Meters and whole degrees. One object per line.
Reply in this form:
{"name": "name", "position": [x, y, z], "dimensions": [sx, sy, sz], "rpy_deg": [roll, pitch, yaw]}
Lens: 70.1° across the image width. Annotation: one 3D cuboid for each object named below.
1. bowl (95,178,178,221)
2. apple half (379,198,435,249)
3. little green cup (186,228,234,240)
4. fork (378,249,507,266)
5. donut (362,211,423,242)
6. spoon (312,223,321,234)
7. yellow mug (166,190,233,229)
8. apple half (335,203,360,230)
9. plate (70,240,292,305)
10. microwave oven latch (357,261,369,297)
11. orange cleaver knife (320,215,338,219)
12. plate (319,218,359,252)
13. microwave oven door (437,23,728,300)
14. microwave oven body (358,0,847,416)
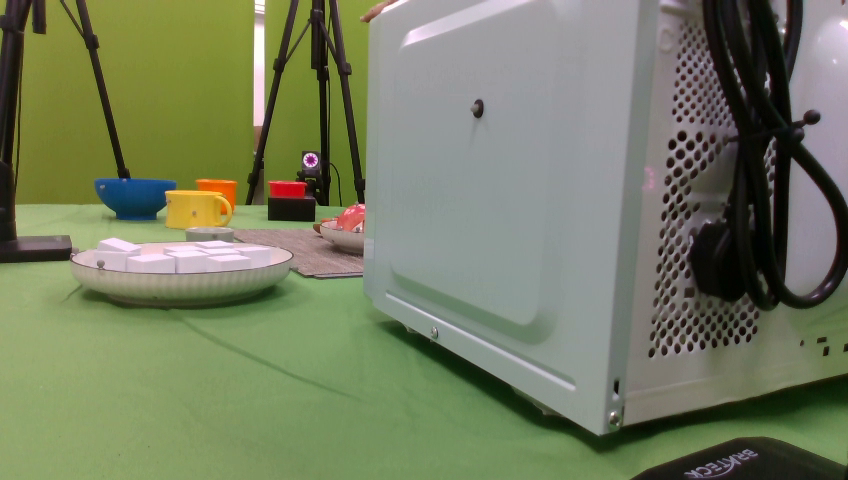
{"name": "bowl", "position": [-0.576, -0.081, 1.217], "dimensions": [0.151, 0.077, 0.151], "rpy_deg": [3, 7, 0]}
{"name": "apple half", "position": [-0.020, -0.030, 0.891], "dimensions": [0.081, 0.053, 0.074], "rpy_deg": [-2, 49, -26]}
{"name": "little green cup", "position": [-0.284, 0.005, 0.805], "dimensions": [0.061, 0.038, 0.061], "rpy_deg": [2, 8, 0]}
{"name": "fork", "position": [0.031, 0.022, 0.819], "dimensions": [0.208, 0.018, 0.028], "rpy_deg": [-5, 4, -33]}
{"name": "donut", "position": [-0.050, -0.020, 0.958], "dimensions": [0.099, 0.048, 0.099], "rpy_deg": [3, 6, 0]}
{"name": "spoon", "position": [-0.112, -0.022, 1.095], "dimensions": [0.195, 0.021, 0.041], "rpy_deg": [-4, -16, -38]}
{"name": "yellow mug", "position": [-0.415, -0.057, 1.132], "dimensions": [0.130, 0.064, 0.100], "rpy_deg": [6, 8, 16]}
{"name": "apple half", "position": [-0.116, -0.038, 0.960], "dimensions": [0.081, 0.033, 0.081], "rpy_deg": [-38, 8, 7]}
{"name": "plate", "position": [-0.242, 0.031, 0.618], "dimensions": [0.208, 0.039, 0.207], "rpy_deg": [2, 8, 0]}
{"name": "microwave oven latch", "position": [-0.019, 0.033, 0.531], "dimensions": [0.079, 0.029, 0.030], "rpy_deg": [-1, 7, -27]}
{"name": "orange cleaver knife", "position": [-0.142, -0.057, 1.394], "dimensions": [0.077, 0.012, 0.212], "rpy_deg": [3, 7, 44]}
{"name": "plate", "position": [-0.059, -0.007, 0.939], "dimensions": [0.209, 0.038, 0.209], "rpy_deg": [3, 8, 0]}
{"name": "microwave oven door", "position": [0.181, -0.072, 0.621], "dimensions": [0.358, 0.243, 0.039], "rpy_deg": [-2, 8, -29]}
{"name": "microwave oven body", "position": [0.211, -0.047, 0.474], "dimensions": [0.444, 0.260, 0.324], "rpy_deg": [-1, 7, -28]}
